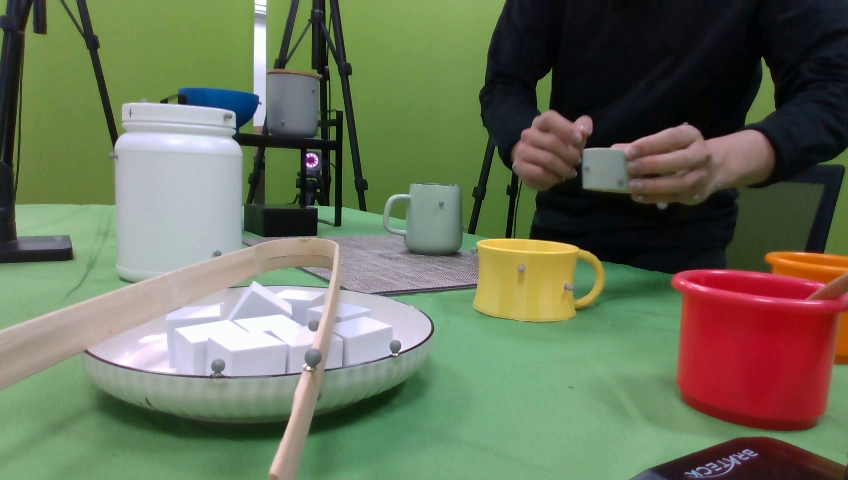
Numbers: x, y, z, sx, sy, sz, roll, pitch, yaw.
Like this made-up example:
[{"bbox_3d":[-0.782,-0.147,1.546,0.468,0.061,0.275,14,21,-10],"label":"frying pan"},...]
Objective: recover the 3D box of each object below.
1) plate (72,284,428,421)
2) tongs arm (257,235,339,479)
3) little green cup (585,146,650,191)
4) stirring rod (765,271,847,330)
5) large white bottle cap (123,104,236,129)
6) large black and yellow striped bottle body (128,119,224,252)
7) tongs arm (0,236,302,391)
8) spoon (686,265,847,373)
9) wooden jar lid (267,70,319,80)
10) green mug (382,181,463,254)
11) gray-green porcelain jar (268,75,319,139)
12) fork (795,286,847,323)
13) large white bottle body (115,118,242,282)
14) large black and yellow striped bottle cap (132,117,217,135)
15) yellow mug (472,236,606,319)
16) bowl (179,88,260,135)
[{"bbox_3d":[-0.102,0.067,0.381,0.208,0.039,0.207,3,7,0],"label":"plate"},{"bbox_3d":[-0.074,0.040,0.345,0.051,0.026,0.384,-1,10,-3],"label":"tongs arm"},{"bbox_3d":[0.188,-0.070,0.598,0.061,0.038,0.061,7,4,0],"label":"little green cup"},{"bbox_3d":[0.352,0.020,0.481,0.176,0.006,0.014,-40,-8,17],"label":"stirring rod"},{"bbox_3d":[-0.266,-0.135,0.663,0.115,0.018,0.115,3,7,0],"label":"large white bottle cap"},{"bbox_3d":[-0.361,-0.081,0.887,0.131,0.184,0.130,2,8,0],"label":"large black and yellow striped bottle body"},{"bbox_3d":[-0.157,0.037,0.347,0.028,0.028,0.388,-2,8,11],"label":"tongs arm"},{"bbox_3d":[0.214,0.032,0.327,0.042,0.021,0.193,-3,-35,-26],"label":"spoon"},{"bbox_3d":[-0.275,-0.339,1.271,0.108,0.020,0.108,5,6,0],"label":"wooden jar lid"},{"bbox_3d":[-0.001,-0.036,0.922,0.126,0.105,0.092,0,8,-16],"label":"green mug"},{"bbox_3d":[-0.277,-0.278,1.280,0.106,0.126,0.106,2,8,0],"label":"gray-green porcelain jar"},{"bbox_3d":[0.332,0.018,0.443,0.028,0.018,0.207,-3,-35,-16],"label":"fork"},{"bbox_3d":[-0.270,-0.051,0.674,0.131,0.184,0.130,2,8,0],"label":"large white bottle body"},{"bbox_3d":[-0.359,-0.164,0.875,0.115,0.019,0.115,2,6,0],"label":"large black and yellow striped bottle cap"},{"bbox_3d":[0.114,0.034,0.590,0.131,0.064,0.100,2,6,-7],"label":"yellow mug"},{"bbox_3d":[-0.400,-0.248,1.188,0.151,0.077,0.151,3,6,0],"label":"bowl"}]
